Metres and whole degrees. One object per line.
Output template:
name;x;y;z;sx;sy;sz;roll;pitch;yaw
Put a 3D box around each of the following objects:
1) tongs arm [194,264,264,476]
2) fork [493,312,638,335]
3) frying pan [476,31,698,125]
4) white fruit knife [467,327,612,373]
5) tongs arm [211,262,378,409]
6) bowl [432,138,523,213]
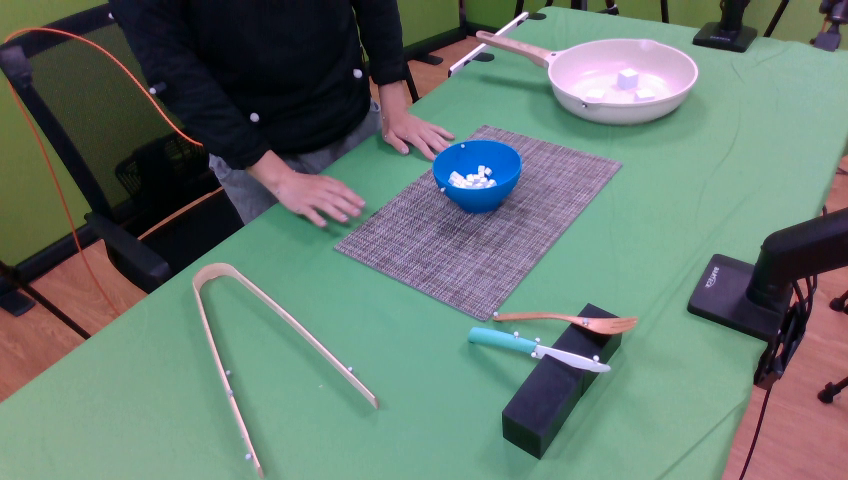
tongs arm;-0.259;0.153;0.816;0.051;0.026;0.381;-24;42;-20
fork;0.173;0.103;0.774;0.206;0.019;0.028;0;41;40
frying pan;0.321;-0.371;1.290;0.484;0.103;0.307;29;51;24
white fruit knife;0.134;0.134;0.742;0.205;0.027;0.016;7;34;41
tongs arm;-0.192;0.121;0.851;0.028;0.028;0.384;-37;48;-27
bowl;0.091;-0.099;1.021;0.151;0.077;0.150;-4;41;4
